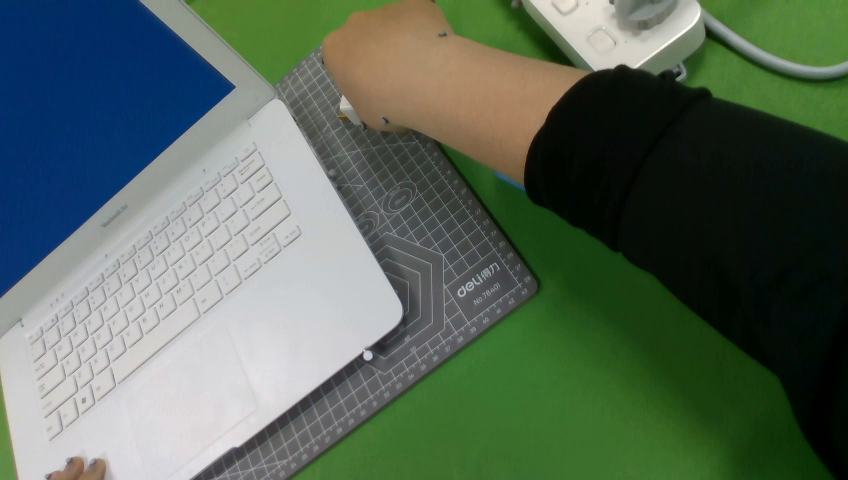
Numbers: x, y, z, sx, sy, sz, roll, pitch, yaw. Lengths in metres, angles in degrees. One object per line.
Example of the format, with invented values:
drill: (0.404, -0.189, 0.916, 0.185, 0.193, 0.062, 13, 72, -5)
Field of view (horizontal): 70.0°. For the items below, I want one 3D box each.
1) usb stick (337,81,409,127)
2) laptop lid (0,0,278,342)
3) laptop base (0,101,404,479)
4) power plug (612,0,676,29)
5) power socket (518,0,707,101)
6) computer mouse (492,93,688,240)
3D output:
usb stick: (-0.044, -0.102, 0.459, 0.059, 0.027, 0.021, -2, 63, 28)
laptop lid: (-0.314, -0.066, 0.451, 0.357, 0.244, 0.013, -40, 46, 10)
laptop base: (-0.197, 0.075, 0.477, 0.354, 0.023, 0.233, -39, 62, 9)
power plug: (0.146, -0.152, 0.355, 0.072, 0.053, 0.035, -28, 64, 15)
power socket: (0.100, -0.183, 0.414, 0.072, 0.033, 0.224, -37, 59, 11)
computer mouse: (0.094, -0.050, 0.365, 0.116, 0.041, 0.063, 33, 91, 37)
